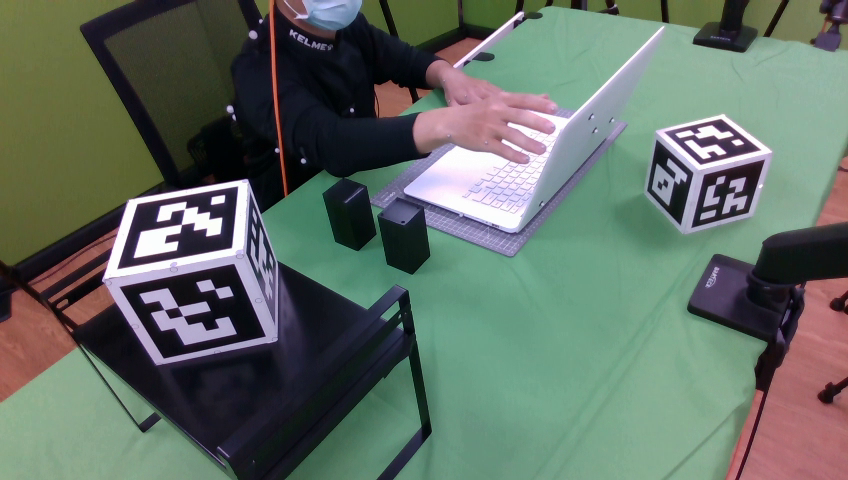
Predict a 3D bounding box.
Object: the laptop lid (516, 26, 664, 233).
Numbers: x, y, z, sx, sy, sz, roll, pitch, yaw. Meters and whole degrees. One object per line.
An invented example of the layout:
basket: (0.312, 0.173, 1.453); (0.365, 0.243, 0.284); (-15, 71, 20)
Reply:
laptop lid: (0.269, -0.178, 0.966); (0.013, 0.242, 0.357); (35, 52, 16)

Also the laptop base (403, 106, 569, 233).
laptop base: (0.157, -0.144, 1.116); (0.233, 0.023, 0.355); (20, 47, 32)
